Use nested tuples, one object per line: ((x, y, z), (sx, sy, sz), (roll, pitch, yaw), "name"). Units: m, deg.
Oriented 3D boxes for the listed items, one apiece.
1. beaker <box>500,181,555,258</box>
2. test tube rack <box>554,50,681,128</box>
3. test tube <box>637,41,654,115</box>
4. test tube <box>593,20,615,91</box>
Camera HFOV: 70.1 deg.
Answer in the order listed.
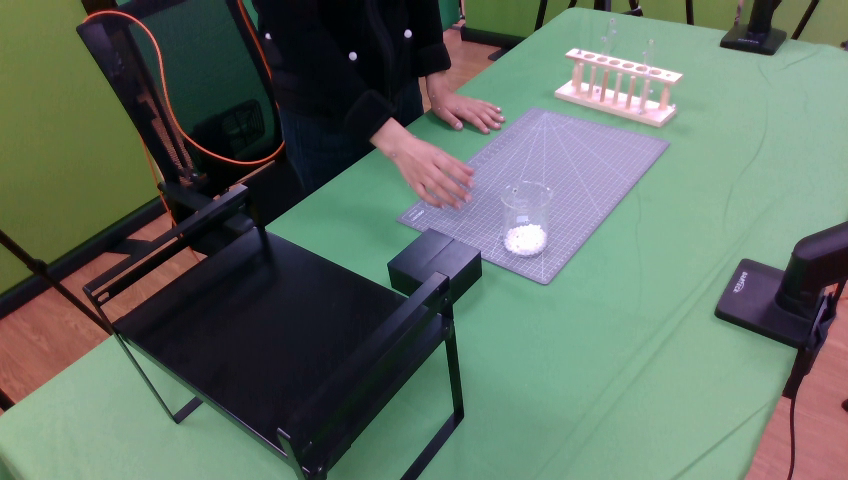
((0.158, -0.030, 0.923), (0.084, 0.100, 0.073), (-13, 41, -8), "beaker")
((0.387, -0.311, 1.234), (0.240, 0.085, 0.067), (28, 51, 34), "test tube rack")
((0.423, -0.307, 1.154), (0.017, 0.151, 0.017), (-5, 41, 5), "test tube")
((0.366, -0.372, 1.233), (0.017, 0.151, 0.017), (0, 43, 0), "test tube")
